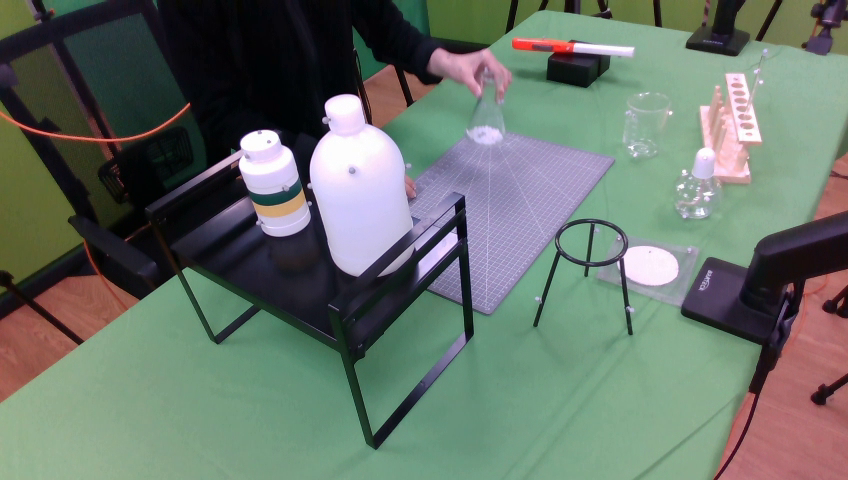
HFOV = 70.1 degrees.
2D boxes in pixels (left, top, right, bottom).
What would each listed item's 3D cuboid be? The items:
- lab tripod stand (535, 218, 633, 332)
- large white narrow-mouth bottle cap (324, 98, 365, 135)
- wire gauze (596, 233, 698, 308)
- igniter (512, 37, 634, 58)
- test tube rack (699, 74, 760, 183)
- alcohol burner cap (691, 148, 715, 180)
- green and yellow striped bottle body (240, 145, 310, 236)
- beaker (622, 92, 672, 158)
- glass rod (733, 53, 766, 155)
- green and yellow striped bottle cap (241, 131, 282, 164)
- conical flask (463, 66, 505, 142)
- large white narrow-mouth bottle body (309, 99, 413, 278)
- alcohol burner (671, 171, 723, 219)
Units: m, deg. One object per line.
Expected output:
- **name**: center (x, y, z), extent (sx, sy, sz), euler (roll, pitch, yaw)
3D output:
- **lab tripod stand**: center (0.216, 0.050, 0.803), extent (0.148, 0.132, 0.147), euler (-4, 42, 4)
- **large white narrow-mouth bottle cap**: center (-0.076, -0.120, 0.585), extent (0.038, 0.024, 0.037), euler (-3, 42, 3)
- **wire gauze**: center (0.331, 0.038, 0.897), extent (0.124, 0.011, 0.121), euler (18, 47, 26)
- **igniter**: center (0.328, -0.433, 1.360), extent (0.275, 0.025, 0.057), euler (12, 33, 20)
- **test tube rack**: center (0.547, -0.208, 1.095), extent (0.066, 0.085, 0.242), euler (6, 42, 16)
- **alcohol burner cap**: center (0.432, -0.120, 0.930), extent (0.034, 0.048, 0.033), euler (-7, 48, 8)
- **green and yellow striped bottle body**: center (-0.181, -0.068, 0.729), extent (0.063, 0.120, 0.063), euler (-4, 40, 4)
- **beaker**: center (0.402, -0.210, 1.106), extent (0.074, 0.101, 0.083), euler (-9, 40, -2)
- **glass rod**: center (0.540, -0.219, 1.006), extent (0.008, 0.201, 0.008), euler (-5, 45, 6)
- **green and yellow striped bottle cap**: center (-0.187, -0.107, 0.695), extent (0.045, 0.020, 0.045), euler (-3, 39, 3)
- **conical flask**: center (0.110, -0.237, 1.051), extent (0.075, 0.122, 0.075), euler (2, 39, -1)
- **large white narrow-mouth bottle body**: center (-0.069, -0.057, 0.644), extent (0.102, 0.195, 0.101), euler (-3, 42, 4)
- **alcohol burner**: center (0.434, -0.093, 0.955), extent (0.078, 0.119, 0.077), euler (-3, 43, 3)
